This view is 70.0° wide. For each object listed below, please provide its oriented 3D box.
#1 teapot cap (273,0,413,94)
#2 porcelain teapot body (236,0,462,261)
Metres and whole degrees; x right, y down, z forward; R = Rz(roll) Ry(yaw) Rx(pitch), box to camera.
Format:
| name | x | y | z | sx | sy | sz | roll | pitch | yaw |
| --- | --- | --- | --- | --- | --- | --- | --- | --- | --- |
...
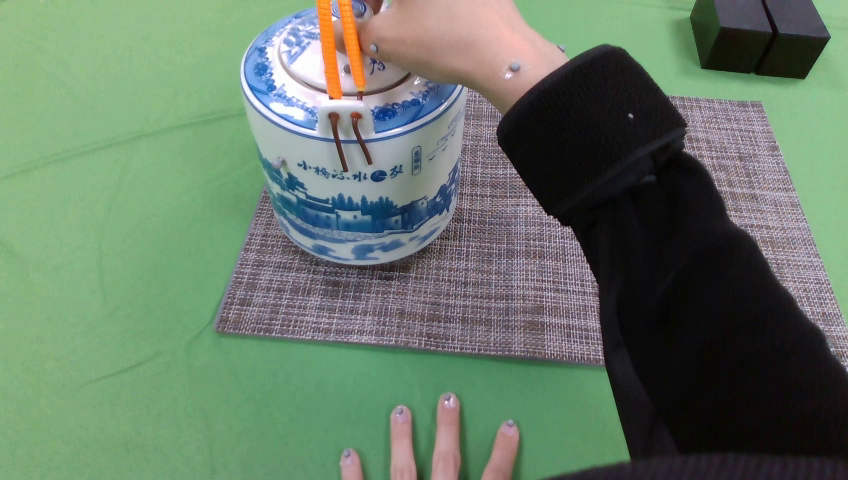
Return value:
| name | x | y | z | sx | sy | sz | roll | pitch | yaw |
| --- | --- | --- | --- | --- | --- | --- | --- | --- | --- |
| teapot cap | -0.049 | -0.125 | 0.370 | 0.085 | 0.044 | 0.084 | 1 | 52 | -1 |
| porcelain teapot body | -0.048 | -0.120 | 0.422 | 0.145 | 0.227 | 0.203 | 0 | 52 | -2 |
